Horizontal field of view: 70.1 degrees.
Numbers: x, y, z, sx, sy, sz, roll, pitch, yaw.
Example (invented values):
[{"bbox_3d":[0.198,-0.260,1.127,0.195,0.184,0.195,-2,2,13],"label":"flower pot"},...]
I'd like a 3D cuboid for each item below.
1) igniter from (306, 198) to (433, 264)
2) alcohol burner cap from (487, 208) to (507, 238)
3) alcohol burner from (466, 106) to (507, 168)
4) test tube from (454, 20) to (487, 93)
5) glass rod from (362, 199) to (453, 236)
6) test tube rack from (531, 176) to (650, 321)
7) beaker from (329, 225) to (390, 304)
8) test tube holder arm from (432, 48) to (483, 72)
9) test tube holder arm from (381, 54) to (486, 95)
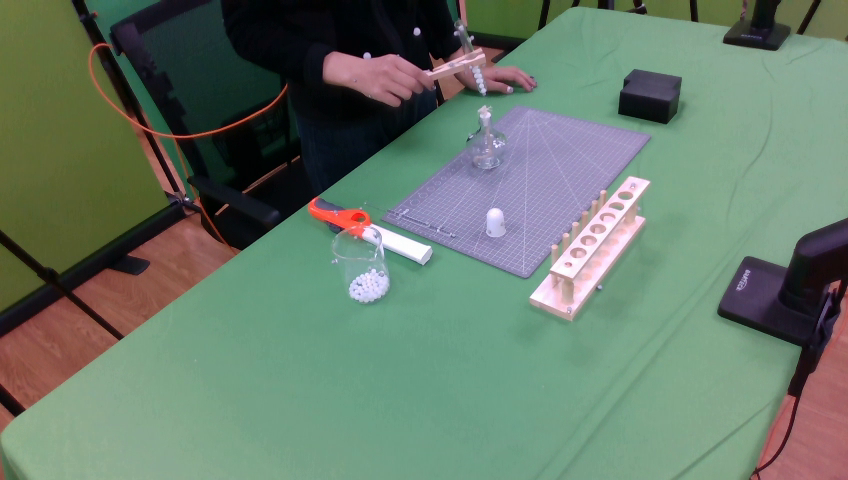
[{"bbox_3d":[-0.102,-0.020,1.019,0.274,0.025,0.057,22,59,32],"label":"igniter"},{"bbox_3d":[0.116,-0.030,0.975,0.034,0.048,0.033,-6,40,5],"label":"alcohol burner cap"},{"bbox_3d":[0.115,-0.193,1.112,0.078,0.119,0.077,-4,41,4],"label":"alcohol burner"},{"bbox_3d":[0.079,-0.298,0.994,0.017,0.151,0.017,-11,56,17],"label":"test tube"},{"bbox_3d":[-0.031,-0.041,1.041,0.198,0.008,0.008,22,50,31],"label":"glass rod"},{"bbox_3d":[0.246,0.002,0.884,0.066,0.085,0.243,22,49,32],"label":"test tube rack"},{"bbox_3d":[-0.089,0.040,0.890,0.074,0.101,0.083,-32,46,-24],"label":"beaker"},{"bbox_3d":[0.056,-0.293,0.998,0.088,0.015,0.010,-24,54,1],"label":"test tube holder arm"},{"bbox_3d":[0.015,-0.273,0.998,0.178,0.015,0.013,-17,54,5],"label":"test tube holder arm"}]
